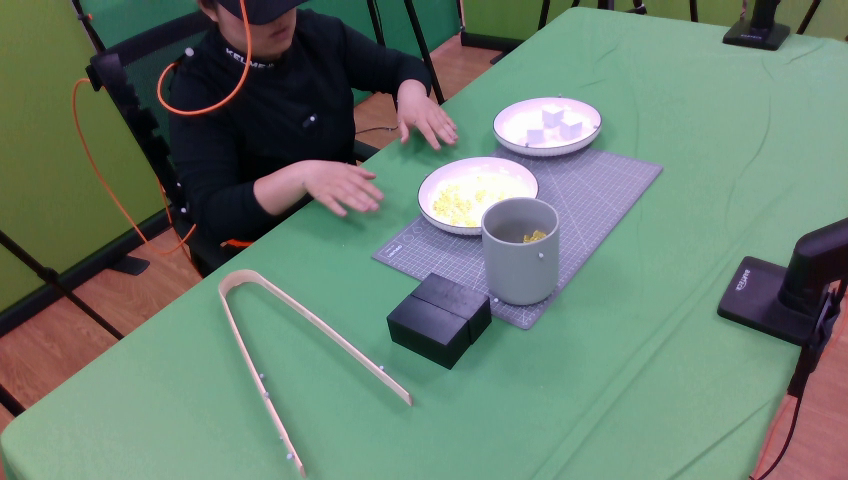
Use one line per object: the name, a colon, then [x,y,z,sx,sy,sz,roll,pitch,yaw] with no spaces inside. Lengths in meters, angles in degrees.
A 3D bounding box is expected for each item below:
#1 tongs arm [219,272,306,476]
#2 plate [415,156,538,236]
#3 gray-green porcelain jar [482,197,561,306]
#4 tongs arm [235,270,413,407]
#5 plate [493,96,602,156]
tongs arm: [-0.218,0.161,0.822,0.051,0.026,0.381,-26,42,-21]
plate: [0.090,-0.072,1.034,0.207,0.039,0.206,-5,40,5]
gray-green porcelain jar: [0.137,0.020,0.846,0.106,0.127,0.105,-5,40,5]
tongs arm: [-0.153,0.127,0.857,0.384,0.028,0.028,28,55,36]
plate: [0.238,-0.218,1.179,0.209,0.038,0.208,-4,39,4]
